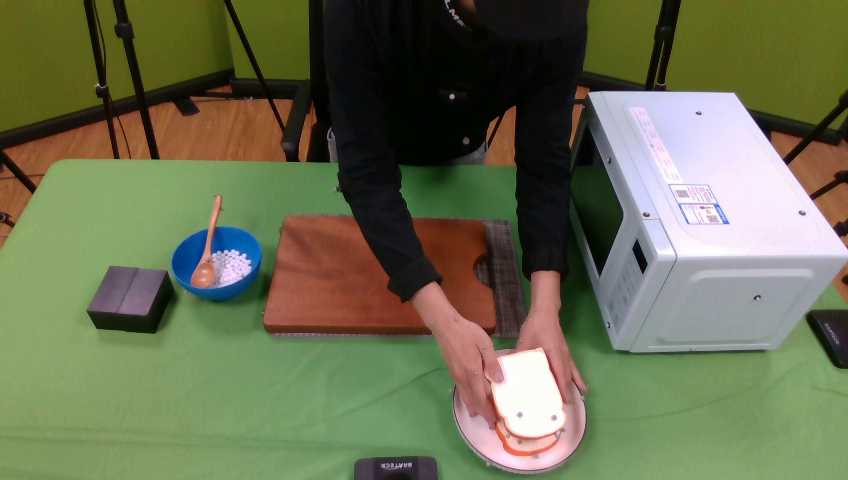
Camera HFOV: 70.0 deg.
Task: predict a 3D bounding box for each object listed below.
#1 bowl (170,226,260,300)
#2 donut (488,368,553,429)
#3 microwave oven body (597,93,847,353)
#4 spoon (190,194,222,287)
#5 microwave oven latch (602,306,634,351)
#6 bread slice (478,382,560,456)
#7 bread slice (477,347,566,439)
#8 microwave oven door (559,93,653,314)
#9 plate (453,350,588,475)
[{"bbox_3d":[-0.364,0.054,1.080,0.151,0.077,0.150,3,45,-3],"label":"bowl"},{"bbox_3d":[0.147,0.241,0.924,0.099,0.048,0.098,-2,45,2],"label":"donut"},{"bbox_3d":[0.475,-0.041,1.109,0.326,0.261,0.438,-1,45,-4],"label":"microwave oven body"},{"bbox_3d":[-0.383,0.000,1.088,0.041,0.022,0.193,1,66,4],"label":"spoon"},{"bbox_3d":[0.332,0.153,1.044,0.030,0.029,0.078,0,45,-4],"label":"microwave oven latch"},{"bbox_3d":[0.154,0.267,0.942,0.105,0.019,0.130,-13,50,-10],"label":"bread slice"},{"bbox_3d":[0.150,0.227,0.899,0.107,0.018,0.133,-12,54,-14],"label":"bread slice"},{"bbox_3d":[0.327,-0.074,1.123,0.039,0.245,0.353,-1,46,-5],"label":"microwave oven door"},{"bbox_3d":[0.147,0.267,0.943,0.208,0.039,0.206,2,46,-2],"label":"plate"}]
